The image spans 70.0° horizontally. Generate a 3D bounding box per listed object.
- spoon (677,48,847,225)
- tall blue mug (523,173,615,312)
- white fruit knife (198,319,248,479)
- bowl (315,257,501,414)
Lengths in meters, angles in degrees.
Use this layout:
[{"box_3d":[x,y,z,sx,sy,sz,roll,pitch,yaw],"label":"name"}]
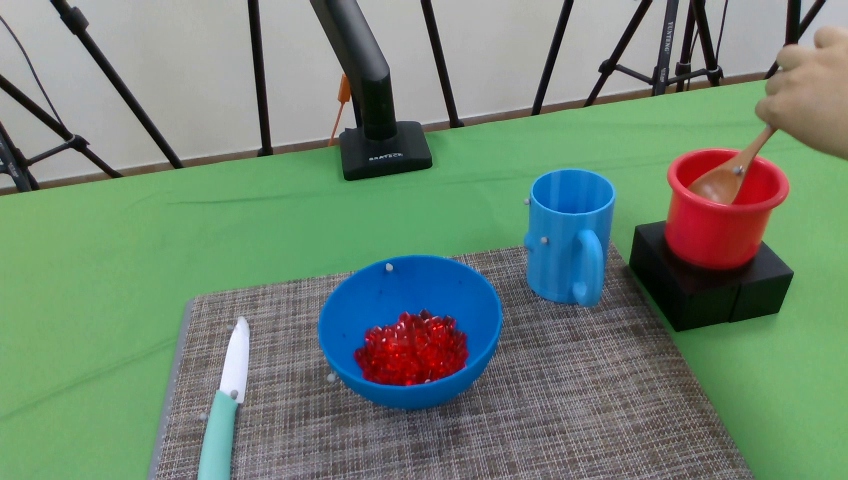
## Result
[{"box_3d":[0.293,-0.087,0.513,0.022,0.194,0.041,17,30,-41],"label":"spoon"},{"box_3d":[0.146,0.008,0.573,0.078,0.109,0.106,-27,43,-25],"label":"tall blue mug"},{"box_3d":[-0.170,0.141,0.523,0.027,0.016,0.205,16,32,-20],"label":"white fruit knife"},{"box_3d":[-0.010,0.092,0.512,0.151,0.077,0.150,-3,39,3],"label":"bowl"}]
